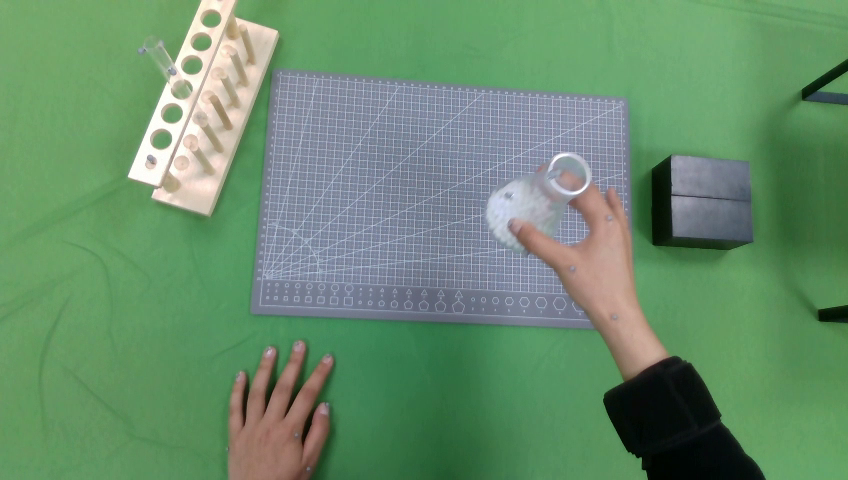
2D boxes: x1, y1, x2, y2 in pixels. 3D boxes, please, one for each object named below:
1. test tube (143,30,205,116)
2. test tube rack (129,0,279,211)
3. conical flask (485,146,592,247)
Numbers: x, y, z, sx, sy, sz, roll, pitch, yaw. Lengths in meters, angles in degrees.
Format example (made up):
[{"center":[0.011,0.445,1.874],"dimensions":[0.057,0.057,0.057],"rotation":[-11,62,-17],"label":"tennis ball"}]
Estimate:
[{"center":[-0.256,-0.168,0.631],"dimensions":[0.017,0.151,0.017],"rotation":[1,75,-3],"label":"test tube"},{"center":[-0.240,-0.163,0.682],"dimensions":[0.067,0.085,0.241],"rotation":[17,77,-3],"label":"test tube rack"},{"center":[0.104,-0.042,0.530],"dimensions":[0.075,0.122,0.075],"rotation":[3,76,-11],"label":"conical flask"}]
